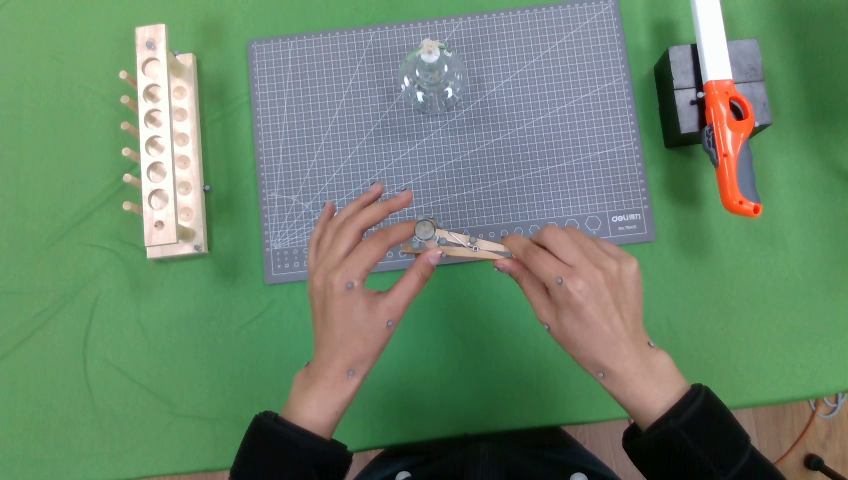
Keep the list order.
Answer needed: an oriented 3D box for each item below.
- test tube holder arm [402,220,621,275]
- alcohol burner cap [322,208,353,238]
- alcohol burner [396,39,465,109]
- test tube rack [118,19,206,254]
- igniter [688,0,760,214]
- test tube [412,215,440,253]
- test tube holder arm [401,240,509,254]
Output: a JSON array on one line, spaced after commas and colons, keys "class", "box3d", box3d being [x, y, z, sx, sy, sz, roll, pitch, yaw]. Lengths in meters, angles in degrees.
[{"class": "test tube holder arm", "box3d": [0.070, 0.006, 0.490, 0.178, 0.015, 0.013, 11, 92, 2]}, {"class": "alcohol burner cap", "box3d": [-0.099, -0.021, 0.682, 0.034, 0.048, 0.033, 0, 82, 0]}, {"class": "alcohol burner", "box3d": [0.007, -0.190, 0.664, 0.078, 0.119, 0.077, 0, 83, 4]}, {"class": "test tube rack", "box3d": [-0.300, -0.112, 0.680, 0.067, 0.085, 0.241, -6, 82, 1]}, {"class": "igniter", "box3d": [0.317, -0.161, 0.650, 0.057, 0.025, 0.275, -5, 80, -1]}, {"class": "test tube", "box3d": [0.004, -0.003, 0.485, 0.017, 0.150, 0.017, 0, 84, 3]}, {"class": "test tube holder arm", "box3d": [0.025, 0.006, 0.491, 0.088, 0.015, 0.010, 2, 91, 2]}]
